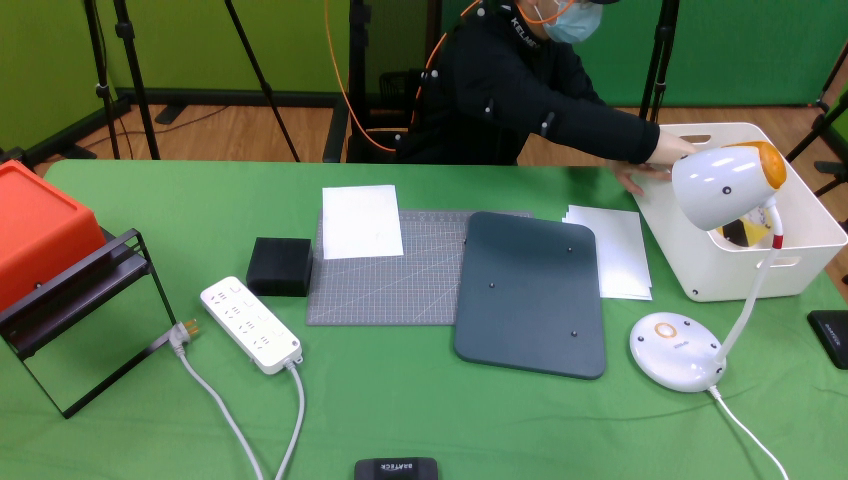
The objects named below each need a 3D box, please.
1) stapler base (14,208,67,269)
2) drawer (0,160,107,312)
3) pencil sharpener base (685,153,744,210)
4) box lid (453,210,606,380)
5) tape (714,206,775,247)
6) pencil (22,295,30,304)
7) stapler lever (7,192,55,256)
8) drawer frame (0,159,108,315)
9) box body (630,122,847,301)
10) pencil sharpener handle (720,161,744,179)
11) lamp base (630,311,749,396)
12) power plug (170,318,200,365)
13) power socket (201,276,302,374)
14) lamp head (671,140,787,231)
[{"bbox_3d":[-0.577,-0.010,0.903,0.041,0.024,0.130,-30,57,-25],"label":"stapler base"},{"bbox_3d":[-0.610,-0.001,0.866,0.194,0.073,0.211,29,52,21],"label":"drawer"},{"bbox_3d":[0.619,-0.125,1.294,0.077,0.107,0.061,-8,47,-13],"label":"pencil sharpener base"},{"bbox_3d":[0.200,0.085,1.138,0.263,0.015,0.369,8,47,3],"label":"box lid"},{"bbox_3d":[0.626,-0.045,1.198,0.117,0.053,0.116,12,47,-13],"label":"tape"},{"bbox_3d":[-0.590,0.010,0.883,0.012,0.012,0.193,-17,61,-20],"label":"pencil"},{"bbox_3d":[-0.575,-0.026,0.885,0.027,0.040,0.117,-31,56,-25],"label":"stapler lever"},{"bbox_3d":[-0.611,0.000,0.863,0.201,0.083,0.213,27,51,20],"label":"drawer frame"},{"bbox_3d":[0.594,-0.062,1.202,0.254,0.161,0.361,-4,47,-7],"label":"box body"},{"bbox_3d":[0.668,-0.148,1.300,0.031,0.068,0.036,-8,78,-12],"label":"pencil sharpener handle"},{"bbox_3d":[0.447,0.143,0.983,0.161,0.181,0.178,-24,55,-24],"label":"lamp base"},{"bbox_3d":[-0.393,0.167,1.014,0.052,0.035,0.072,-30,91,-24],"label":"power plug"},{"bbox_3d":[-0.297,0.141,1.034,0.072,0.033,0.225,-34,58,-30],"label":"power socket"},{"bbox_3d":[0.415,-0.078,0.811,0.113,0.123,0.112,12,70,-37],"label":"lamp head"}]
